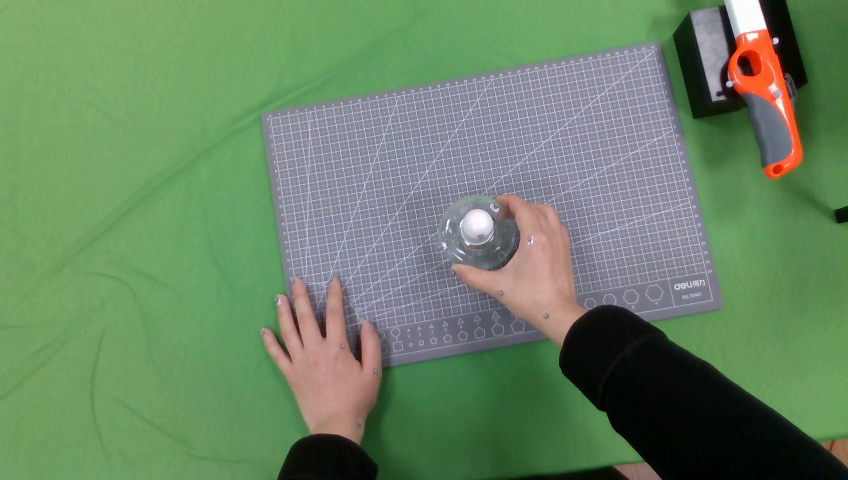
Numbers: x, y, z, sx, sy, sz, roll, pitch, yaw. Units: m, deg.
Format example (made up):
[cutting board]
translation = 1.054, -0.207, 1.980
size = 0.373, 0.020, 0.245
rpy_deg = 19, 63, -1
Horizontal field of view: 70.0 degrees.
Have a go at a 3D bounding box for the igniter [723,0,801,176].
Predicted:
[igniter]
translation = 0.329, -0.199, 0.609
size = 0.057, 0.025, 0.275
rpy_deg = -9, 80, 2

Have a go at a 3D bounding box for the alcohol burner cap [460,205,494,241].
[alcohol burner cap]
translation = 0.049, -0.017, 0.561
size = 0.034, 0.048, 0.034
rpy_deg = 0, 85, 5

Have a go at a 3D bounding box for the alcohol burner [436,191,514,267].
[alcohol burner]
translation = 0.050, -0.013, 0.591
size = 0.078, 0.119, 0.077
rpy_deg = 0, 84, 5
